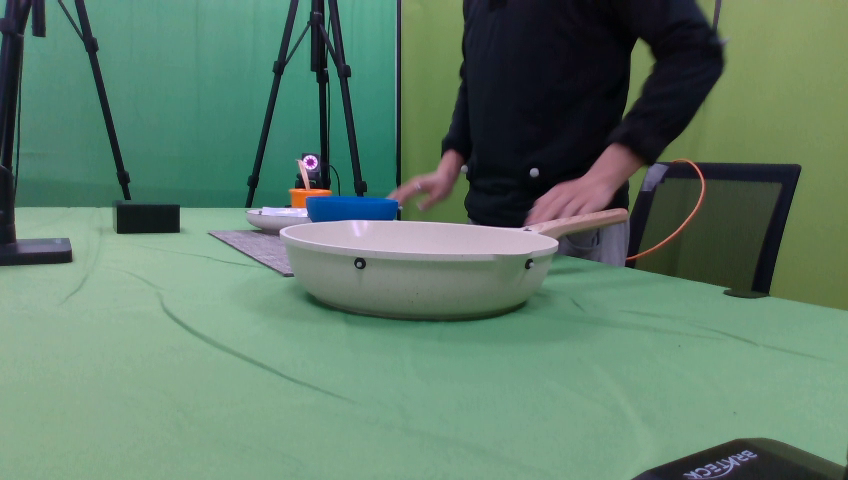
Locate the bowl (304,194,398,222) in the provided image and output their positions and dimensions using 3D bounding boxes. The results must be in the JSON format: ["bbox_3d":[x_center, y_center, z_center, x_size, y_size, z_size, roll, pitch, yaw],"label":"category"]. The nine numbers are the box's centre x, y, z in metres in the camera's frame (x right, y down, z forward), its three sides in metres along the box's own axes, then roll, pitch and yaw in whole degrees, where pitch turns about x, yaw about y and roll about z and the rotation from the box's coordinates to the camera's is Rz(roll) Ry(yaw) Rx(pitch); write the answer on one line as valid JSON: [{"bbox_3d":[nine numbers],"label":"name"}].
[{"bbox_3d":[-0.118,-0.031,0.974,0.151,0.077,0.151,3,7,0],"label":"bowl"}]

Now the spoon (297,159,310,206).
[{"bbox_3d":[-0.260,-0.113,1.340,0.042,0.193,0.021,0,-37,-25],"label":"spoon"}]

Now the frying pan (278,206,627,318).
[{"bbox_3d":[0.079,0.002,0.705,0.490,0.102,0.305,-12,15,-33],"label":"frying pan"}]

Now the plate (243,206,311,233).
[{"bbox_3d":[-0.236,-0.037,1.150,0.208,0.039,0.207,2,7,0],"label":"plate"}]
